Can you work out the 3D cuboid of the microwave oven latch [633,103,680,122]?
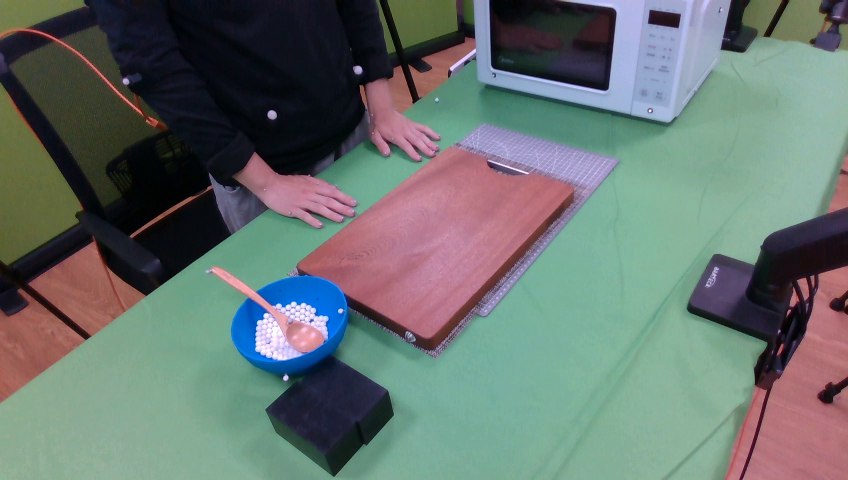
[{"bbox_3d":[0.443,-0.249,1.157,0.078,0.029,0.030,21,48,30],"label":"microwave oven latch"}]

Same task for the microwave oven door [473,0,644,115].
[{"bbox_3d":[0.257,-0.396,1.199,0.353,0.245,0.039,21,48,29],"label":"microwave oven door"}]

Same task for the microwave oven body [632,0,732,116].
[{"bbox_3d":[0.377,-0.462,1.267,0.438,0.261,0.327,21,48,30],"label":"microwave oven body"}]

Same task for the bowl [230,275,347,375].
[{"bbox_3d":[-0.171,0.125,0.802,0.151,0.077,0.150,-4,40,4],"label":"bowl"}]

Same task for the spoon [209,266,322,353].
[{"bbox_3d":[-0.214,0.088,0.806,0.193,0.021,0.042,37,56,11],"label":"spoon"}]

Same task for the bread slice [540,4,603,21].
[{"bbox_3d":[0.317,-0.483,1.278,0.106,0.018,0.135,16,32,27],"label":"bread slice"}]

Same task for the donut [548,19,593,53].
[{"bbox_3d":[0.314,-0.441,1.300,0.099,0.048,0.098,-19,36,15],"label":"donut"}]

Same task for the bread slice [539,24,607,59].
[{"bbox_3d":[0.334,-0.444,1.337,0.132,0.019,0.104,-32,43,-20],"label":"bread slice"}]
